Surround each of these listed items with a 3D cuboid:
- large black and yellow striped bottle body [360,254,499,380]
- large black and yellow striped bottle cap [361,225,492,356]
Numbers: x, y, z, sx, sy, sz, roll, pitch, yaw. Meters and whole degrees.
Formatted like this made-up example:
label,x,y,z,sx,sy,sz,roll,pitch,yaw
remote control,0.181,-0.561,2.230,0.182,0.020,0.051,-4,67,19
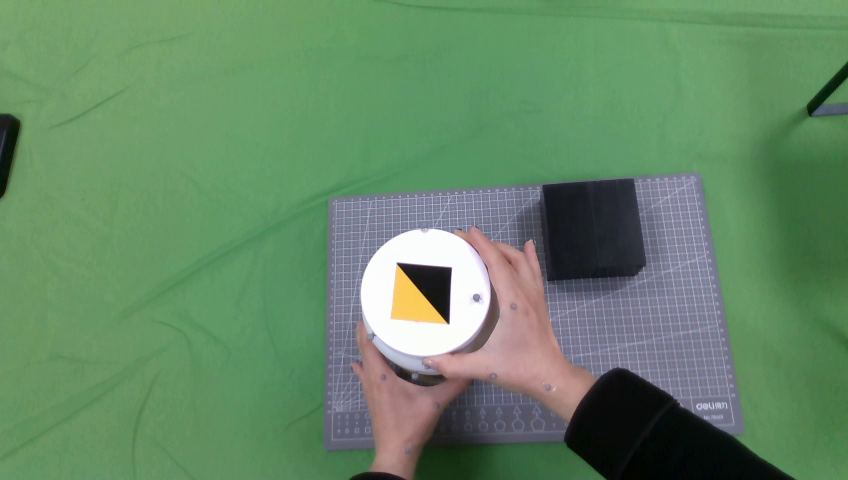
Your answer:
label,x,y,z,sx,sy,sz,roll,pitch,yaw
large black and yellow striped bottle body,0.009,0.068,0.609,0.130,0.185,0.130,-1,73,5
large black and yellow striped bottle cap,0.002,0.043,0.529,0.115,0.019,0.114,-2,73,6
